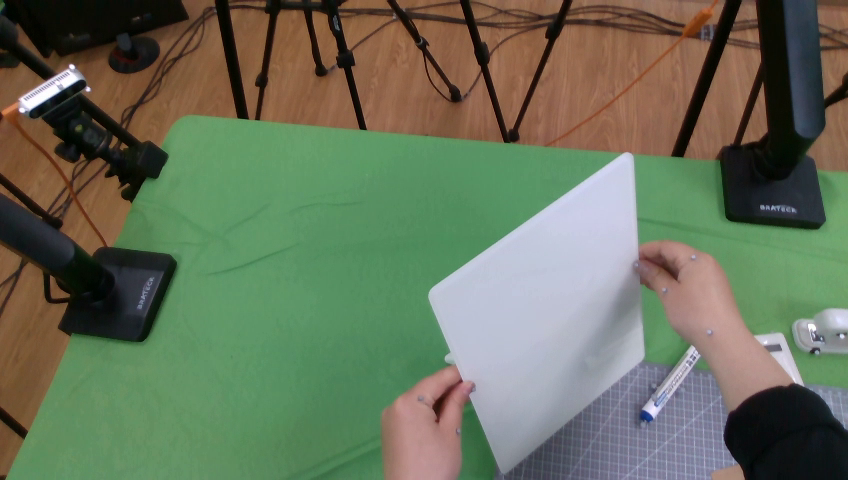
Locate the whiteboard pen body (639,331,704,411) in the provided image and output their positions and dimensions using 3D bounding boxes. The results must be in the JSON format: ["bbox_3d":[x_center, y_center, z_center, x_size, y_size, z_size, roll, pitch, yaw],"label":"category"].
[{"bbox_3d":[0.289,0.139,0.691,0.017,0.017,0.140,38,70,22],"label":"whiteboard pen body"}]

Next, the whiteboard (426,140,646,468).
[{"bbox_3d":[0.095,0.049,0.627,0.217,0.309,0.142,-34,43,-13],"label":"whiteboard"}]

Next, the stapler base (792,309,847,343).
[{"bbox_3d":[0.500,0.097,0.700,0.130,0.024,0.041,2,64,3],"label":"stapler base"}]

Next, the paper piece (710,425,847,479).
[{"bbox_3d":[0.384,0.274,0.616,0.136,0.009,0.137,-15,63,0],"label":"paper piece"}]

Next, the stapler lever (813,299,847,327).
[{"bbox_3d":[0.500,0.085,0.679,0.118,0.040,0.026,1,64,4],"label":"stapler lever"}]

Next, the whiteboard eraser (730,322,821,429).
[{"bbox_3d":[0.382,0.148,0.666,0.055,0.042,0.111,-8,61,2],"label":"whiteboard eraser"}]

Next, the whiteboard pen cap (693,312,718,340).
[{"bbox_3d":[0.329,0.101,0.709,0.018,0.018,0.033,36,69,21],"label":"whiteboard pen cap"}]
